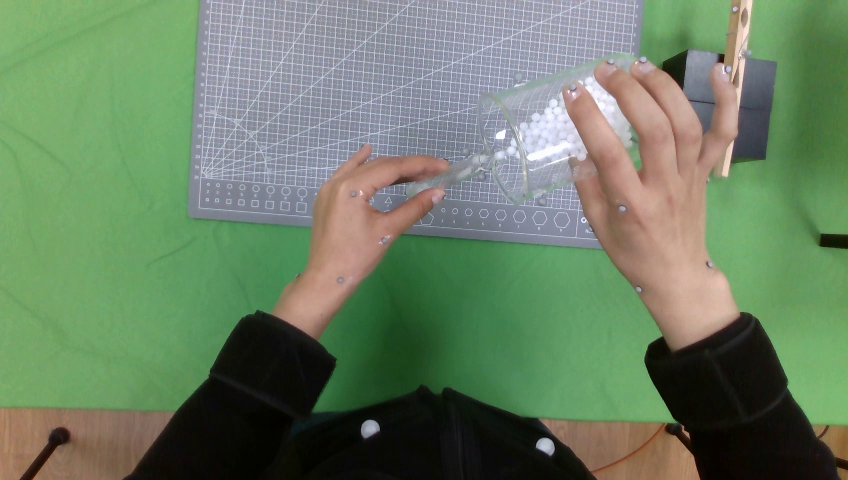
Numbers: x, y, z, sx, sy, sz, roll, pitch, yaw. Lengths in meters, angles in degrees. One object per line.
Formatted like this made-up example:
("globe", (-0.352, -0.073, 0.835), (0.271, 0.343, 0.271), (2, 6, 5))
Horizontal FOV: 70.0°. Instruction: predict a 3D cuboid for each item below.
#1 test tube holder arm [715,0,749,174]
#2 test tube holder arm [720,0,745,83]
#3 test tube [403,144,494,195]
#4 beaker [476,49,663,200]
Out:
("test tube holder arm", (0.310, -0.156, 0.609), (0.013, 0.015, 0.178), (2, 94, -16))
("test tube holder arm", (0.308, -0.201, 0.604), (0.010, 0.015, 0.088), (3, 94, -15))
("test tube", (0.015, -0.054, 0.491), (0.017, 0.149, 0.017), (2, 85, -23))
("beaker", (0.093, -0.076, 0.393), (0.100, 0.084, 0.074), (-19, 91, -8))
